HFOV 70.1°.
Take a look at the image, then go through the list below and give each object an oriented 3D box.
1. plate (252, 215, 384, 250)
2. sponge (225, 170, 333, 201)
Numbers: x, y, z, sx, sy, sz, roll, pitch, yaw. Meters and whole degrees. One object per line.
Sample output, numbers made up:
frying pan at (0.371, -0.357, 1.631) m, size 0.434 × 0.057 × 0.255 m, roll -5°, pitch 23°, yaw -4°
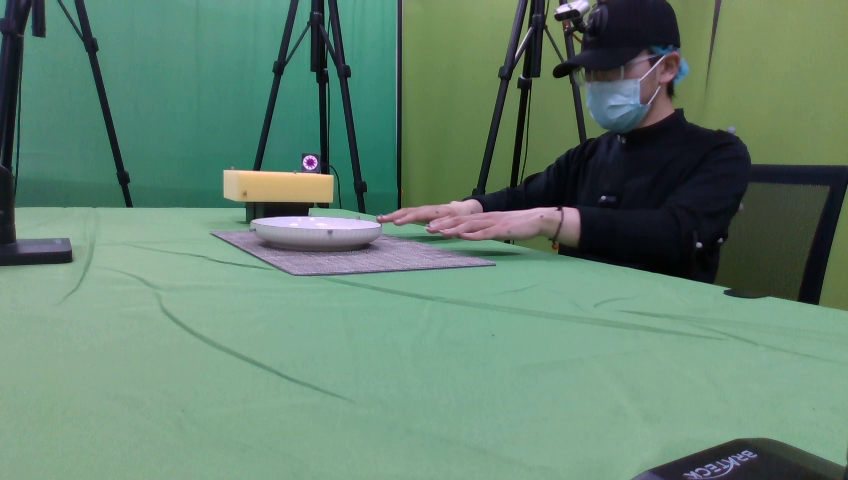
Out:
plate at (-0.169, -0.012, 0.976) m, size 0.208 × 0.039 × 0.207 m, roll 2°, pitch 7°, yaw 0°
sponge at (-0.314, -0.117, 1.306) m, size 0.208 × 0.061 × 0.117 m, roll -2°, pitch 9°, yaw -31°
